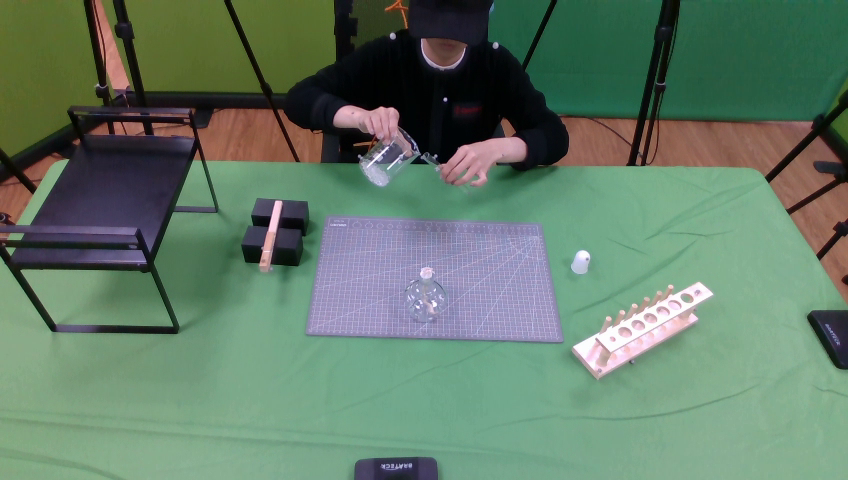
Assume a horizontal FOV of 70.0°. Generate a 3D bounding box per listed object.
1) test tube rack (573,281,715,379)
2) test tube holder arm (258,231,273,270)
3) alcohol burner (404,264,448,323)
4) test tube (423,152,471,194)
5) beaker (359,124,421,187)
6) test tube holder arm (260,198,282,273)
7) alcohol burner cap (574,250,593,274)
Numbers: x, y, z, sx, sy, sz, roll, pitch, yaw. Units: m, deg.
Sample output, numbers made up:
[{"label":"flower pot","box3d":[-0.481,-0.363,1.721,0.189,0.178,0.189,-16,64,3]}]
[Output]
[{"label":"test tube rack","box3d":[0.378,0.140,1.038,0.242,0.085,0.066,-22,51,-23]},{"label":"test tube holder arm","box3d":[-0.282,0.018,1.086,0.015,0.010,0.087,-3,47,3]},{"label":"alcohol burner","box3d":[0.003,0.087,1.042,0.078,0.120,0.077,1,45,0]},{"label":"test tube","box3d":[0.048,-0.130,1.193,0.017,0.151,0.017,-21,53,31]},{"label":"beaker","box3d":[-0.064,-0.153,1.124,0.100,0.084,0.073,-42,49,18]},{"label":"test tube holder arm","box3d":[-0.282,-0.012,1.120,0.015,0.013,0.177,-3,48,3]},{"label":"alcohol burner cap","box3d":[0.308,0.039,1.163,0.034,0.048,0.033,1,46,-1]}]
